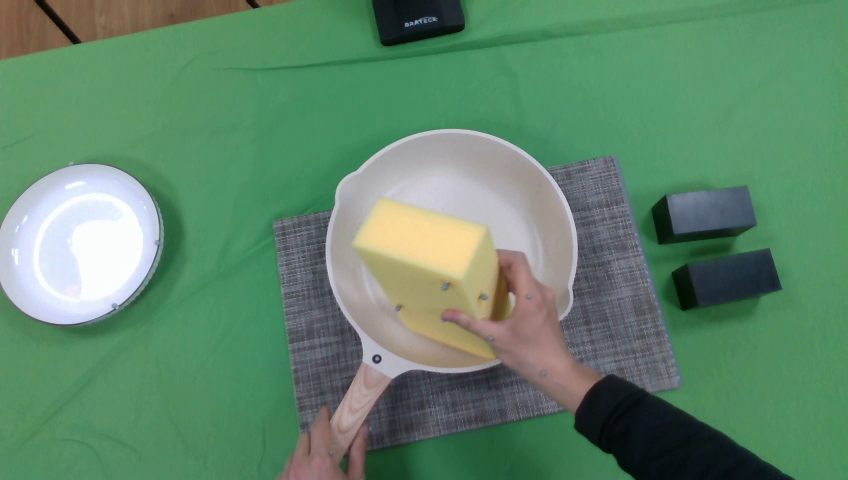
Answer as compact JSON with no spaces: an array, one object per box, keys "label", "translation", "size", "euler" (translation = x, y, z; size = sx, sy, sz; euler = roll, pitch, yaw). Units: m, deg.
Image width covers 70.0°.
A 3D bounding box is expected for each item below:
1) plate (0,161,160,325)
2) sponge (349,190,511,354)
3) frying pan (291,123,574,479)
[{"label":"plate","translation":[-0.431,0.004,0.758],"size":[0.208,0.039,0.206],"euler":[0,76,1]},{"label":"sponge","translation":[0.016,0.043,0.636],"size":[0.117,0.209,0.060],"euler":[16,64,24]},{"label":"frying pan","translation":[-0.024,0.089,0.692],"size":[0.306,0.103,0.486],"euler":[29,70,9]}]
